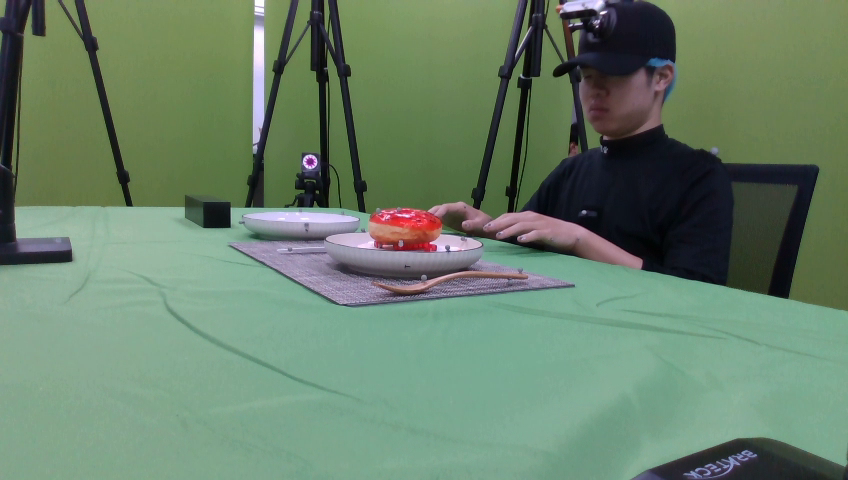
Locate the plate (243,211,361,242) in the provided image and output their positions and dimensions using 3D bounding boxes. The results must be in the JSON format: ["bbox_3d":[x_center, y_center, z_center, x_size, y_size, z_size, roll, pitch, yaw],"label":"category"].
[{"bbox_3d":[-0.219,-0.025,1.092,0.208,0.039,0.207,3,7,0],"label":"plate"}]

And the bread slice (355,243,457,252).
[{"bbox_3d":[-0.027,0.019,0.794,0.131,0.019,0.105,6,7,17],"label":"bread slice"}]

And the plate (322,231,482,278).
[{"bbox_3d":[-0.028,0.018,0.789,0.209,0.038,0.209,3,7,0],"label":"plate"}]

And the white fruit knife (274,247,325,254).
[{"bbox_3d":[-0.118,0.012,0.899,0.208,0.016,0.027,-3,-20,-27],"label":"white fruit knife"}]

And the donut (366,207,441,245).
[{"bbox_3d":[-0.027,-0.017,0.786,0.099,0.048,0.099,2,7,0],"label":"donut"}]

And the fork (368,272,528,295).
[{"bbox_3d":[0.034,0.045,0.661,0.208,0.018,0.028,-4,2,-33],"label":"fork"}]
